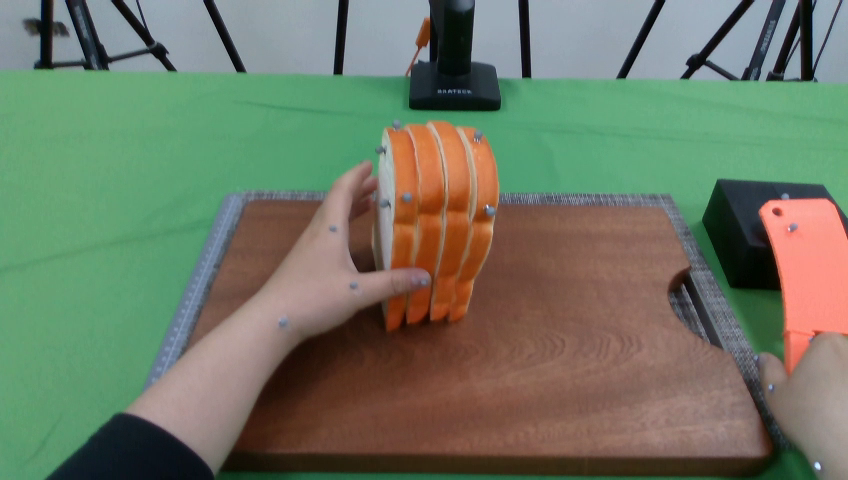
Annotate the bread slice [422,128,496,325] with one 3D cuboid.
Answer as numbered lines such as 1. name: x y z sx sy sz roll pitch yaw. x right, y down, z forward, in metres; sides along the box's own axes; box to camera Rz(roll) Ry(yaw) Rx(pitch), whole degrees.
1. bread slice: 0.026 -0.015 0.462 0.019 0.132 0.103 1 41 -15

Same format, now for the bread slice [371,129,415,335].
1. bread slice: -0.025 -0.014 0.458 0.018 0.135 0.106 -1 37 -11

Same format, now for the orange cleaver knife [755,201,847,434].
1. orange cleaver knife: 0.307 0.051 0.478 0.077 0.012 0.210 11 59 5
